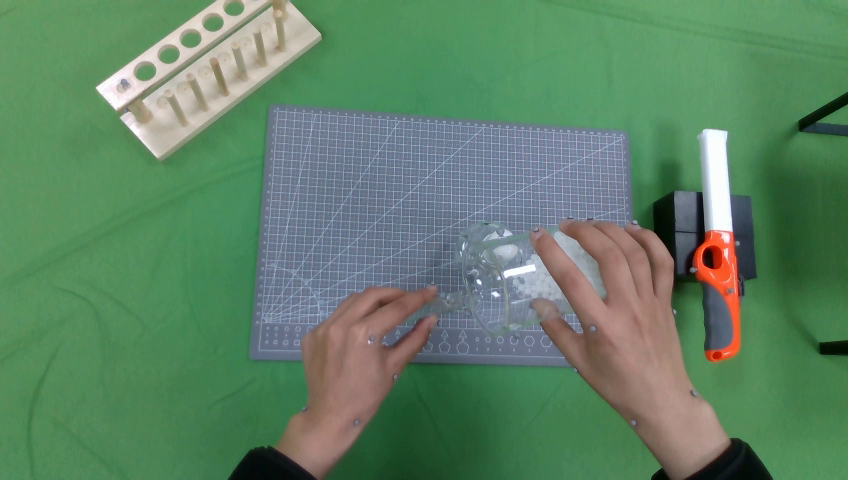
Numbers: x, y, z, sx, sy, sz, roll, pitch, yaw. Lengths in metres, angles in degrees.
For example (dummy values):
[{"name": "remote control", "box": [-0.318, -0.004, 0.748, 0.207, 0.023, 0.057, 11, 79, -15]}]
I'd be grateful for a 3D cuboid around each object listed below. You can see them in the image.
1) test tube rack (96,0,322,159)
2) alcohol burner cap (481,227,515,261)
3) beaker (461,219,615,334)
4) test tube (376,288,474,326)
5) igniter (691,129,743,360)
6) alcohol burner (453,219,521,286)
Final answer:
[{"name": "test tube rack", "box": [-0.230, -0.203, 0.680, 0.242, 0.085, 0.066, -42, 86, -14]}, {"name": "alcohol burner cap", "box": [0.079, 0.003, 0.629, 0.034, 0.048, 0.033, 1, 80, -3]}, {"name": "beaker", "box": [0.088, 0.026, 0.472, 0.100, 0.084, 0.073, -12, 78, -19]}, {"name": "test tube", "box": [-0.004, 0.063, 0.551, 0.017, 0.150, 0.017, 9, 72, -31]}, {"name": "igniter", "box": [0.338, 0.001, 0.703, 0.057, 0.025, 0.275, 6, 75, -5]}, {"name": "alcohol burner", "box": [0.074, 0.010, 0.664, 0.078, 0.119, 0.077, 2, 76, -9]}]
